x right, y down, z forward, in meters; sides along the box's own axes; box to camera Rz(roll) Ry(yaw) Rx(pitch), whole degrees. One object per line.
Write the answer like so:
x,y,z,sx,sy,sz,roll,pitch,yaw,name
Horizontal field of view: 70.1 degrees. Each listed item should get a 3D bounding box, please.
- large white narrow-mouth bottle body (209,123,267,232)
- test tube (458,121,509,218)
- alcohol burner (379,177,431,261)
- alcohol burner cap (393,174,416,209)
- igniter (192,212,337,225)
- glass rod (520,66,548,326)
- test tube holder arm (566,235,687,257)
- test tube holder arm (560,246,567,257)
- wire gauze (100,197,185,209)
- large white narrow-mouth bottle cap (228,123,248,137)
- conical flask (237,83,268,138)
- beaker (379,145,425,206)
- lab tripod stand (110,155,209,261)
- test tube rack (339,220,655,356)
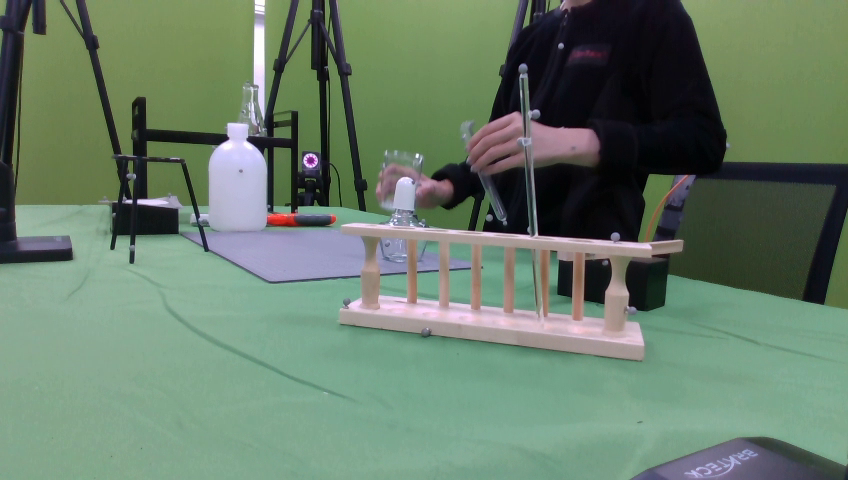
-0.340,-0.115,1.109,0.102,0.194,0.102,2,8,0,large white narrow-mouth bottle body
0.084,-0.099,0.846,0.017,0.150,0.017,-23,-9,-3,test tube
-0.027,-0.031,0.838,0.078,0.119,0.078,0,6,0,alcohol burner
-0.025,-0.067,0.834,0.034,0.048,0.034,8,8,-1,alcohol burner cap
-0.312,-0.043,1.203,0.278,0.025,0.057,-1,-5,-25,igniter
0.084,-0.029,0.458,0.008,0.199,0.008,-6,11,2,glass rod
0.215,0.006,0.630,0.179,0.015,0.013,-3,9,-31,test tube holder arm
0.173,0.007,0.611,0.088,0.015,0.010,-3,9,-30,test tube holder arm
-0.469,-0.062,1.008,0.126,0.011,0.121,-2,8,-25,wire gauze
-0.338,-0.199,1.097,0.038,0.024,0.037,2,8,0,large white narrow-mouth bottle cap
-0.402,-0.299,1.406,0.075,0.122,0.075,2,7,0,conical flask
-0.039,-0.112,1.066,0.074,0.100,0.083,-6,21,-43,beaker
-0.361,-0.046,0.806,0.148,0.131,0.148,2,5,0,lab tripod stand
0.056,0.032,0.495,0.242,0.085,0.067,4,7,15,test tube rack
